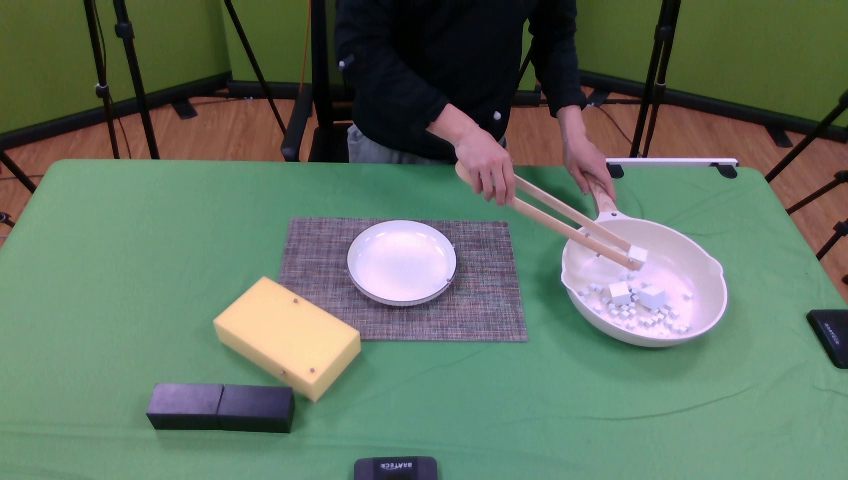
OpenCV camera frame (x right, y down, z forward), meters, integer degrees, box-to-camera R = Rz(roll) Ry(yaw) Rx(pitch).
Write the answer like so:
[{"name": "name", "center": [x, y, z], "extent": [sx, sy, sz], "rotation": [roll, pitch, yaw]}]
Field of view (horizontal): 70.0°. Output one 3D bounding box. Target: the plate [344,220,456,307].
[{"name": "plate", "center": [-0.045, 0.047, 1.133], "extent": [0.208, 0.039, 0.206], "rotation": [3, 46, -2]}]

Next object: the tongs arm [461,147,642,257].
[{"name": "tongs arm", "center": [0.234, -0.069, 1.115], "extent": [0.388, 0.028, 0.028], "rotation": [30, 58, -5]}]

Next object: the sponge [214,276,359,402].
[{"name": "sponge", "center": [-0.225, 0.158, 0.998], "extent": [0.206, 0.061, 0.118], "rotation": [27, 52, 18]}]

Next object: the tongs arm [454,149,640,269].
[{"name": "tongs arm", "center": [0.226, -0.053, 1.102], "extent": [0.385, 0.026, 0.050], "rotation": [26, 55, -7]}]

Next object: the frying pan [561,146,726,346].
[{"name": "frying pan", "center": [0.378, -0.006, 1.175], "extent": [0.307, 0.103, 0.484], "rotation": [-4, 55, -9]}]
